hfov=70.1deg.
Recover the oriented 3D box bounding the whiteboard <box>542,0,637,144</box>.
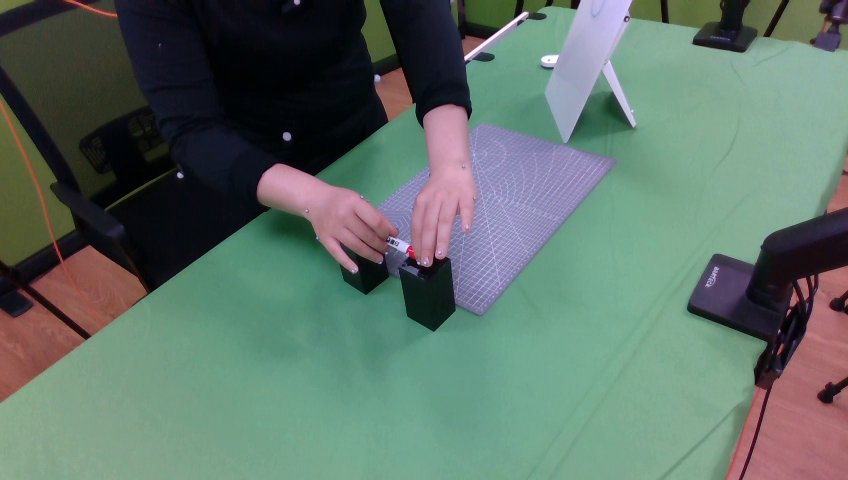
[{"bbox_3d":[0.366,-0.351,1.160,0.144,0.305,0.216,10,39,-10],"label":"whiteboard"}]

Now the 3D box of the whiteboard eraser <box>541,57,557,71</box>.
[{"bbox_3d":[0.323,-0.412,1.407,0.101,0.019,0.041,1,40,11],"label":"whiteboard eraser"}]

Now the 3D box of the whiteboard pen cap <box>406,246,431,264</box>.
[{"bbox_3d":[-0.008,0.019,0.797,0.032,0.017,0.017,20,47,31],"label":"whiteboard pen cap"}]

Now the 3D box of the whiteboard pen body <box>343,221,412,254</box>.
[{"bbox_3d":[-0.057,-0.001,0.830,0.139,0.017,0.017,20,47,30],"label":"whiteboard pen body"}]
